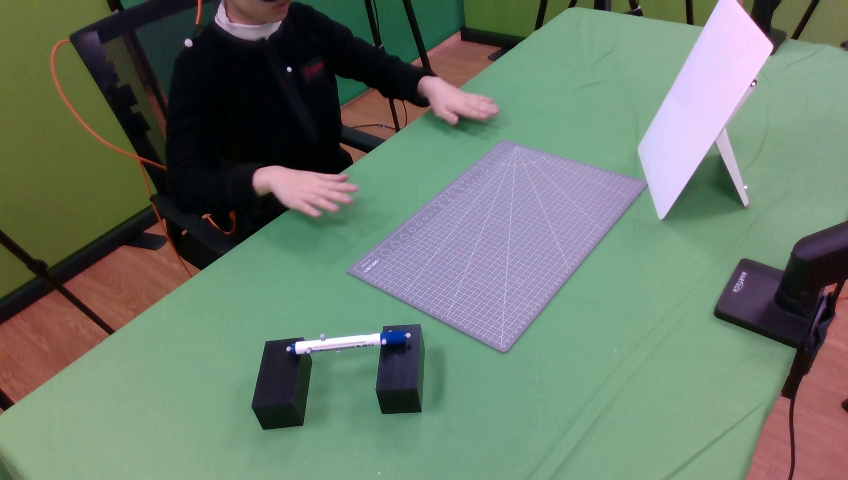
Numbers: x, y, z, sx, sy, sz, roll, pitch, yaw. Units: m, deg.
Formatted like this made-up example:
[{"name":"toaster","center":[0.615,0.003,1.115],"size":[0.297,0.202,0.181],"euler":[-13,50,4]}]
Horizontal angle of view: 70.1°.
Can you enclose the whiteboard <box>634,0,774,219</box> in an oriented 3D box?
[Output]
[{"name":"whiteboard","center":[0.485,-0.192,0.957],"size":[0.144,0.305,0.216],"euler":[14,41,-4]}]

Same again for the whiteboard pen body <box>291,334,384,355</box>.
[{"name":"whiteboard pen body","center":[-0.098,0.131,0.762],"size":[0.141,0.017,0.017],"euler":[-5,41,1]}]

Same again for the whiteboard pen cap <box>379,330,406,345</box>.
[{"name":"whiteboard pen cap","center":[-0.040,0.123,0.760],"size":[0.033,0.018,0.018],"euler":[-6,40,2]}]
